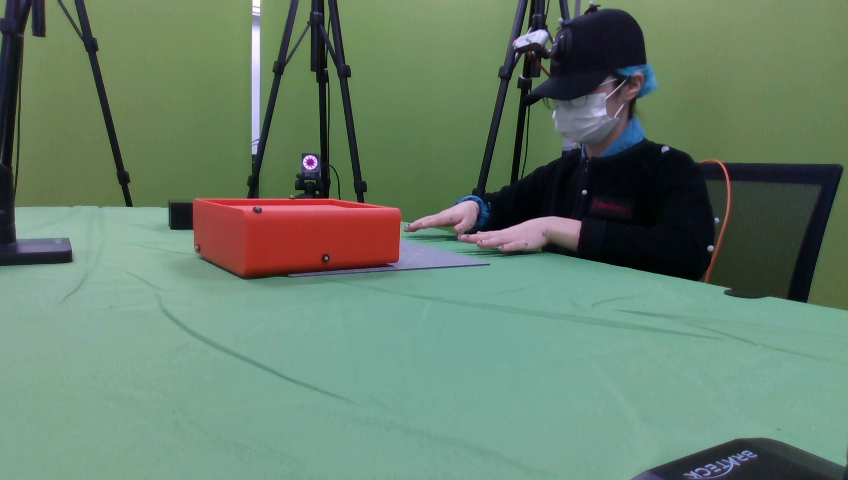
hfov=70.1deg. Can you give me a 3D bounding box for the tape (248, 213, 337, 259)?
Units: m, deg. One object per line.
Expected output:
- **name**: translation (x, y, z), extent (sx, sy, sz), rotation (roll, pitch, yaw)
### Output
- **tape**: translation (-0.176, -0.008, 0.814), extent (0.117, 0.052, 0.117), rotation (3, 6, 0)

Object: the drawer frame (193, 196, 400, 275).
- **drawer frame**: translation (-0.173, -0.014, 0.815), extent (0.215, 0.082, 0.200), rotation (-4, 10, -37)

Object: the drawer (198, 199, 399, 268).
- **drawer**: translation (-0.171, -0.014, 0.818), extent (0.213, 0.073, 0.193), rotation (-4, 10, -36)
